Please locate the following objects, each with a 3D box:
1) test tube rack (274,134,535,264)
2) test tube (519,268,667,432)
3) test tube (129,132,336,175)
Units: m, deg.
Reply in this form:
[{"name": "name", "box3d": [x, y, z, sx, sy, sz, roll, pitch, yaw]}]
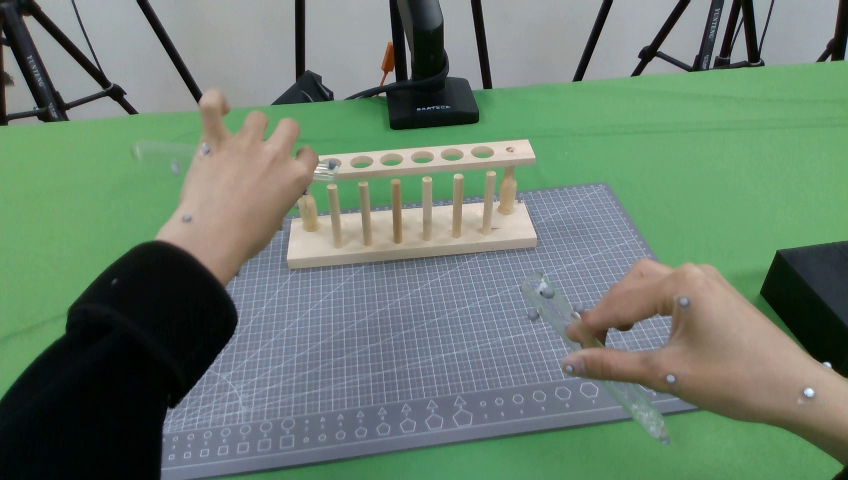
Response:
[{"name": "test tube rack", "box3d": [-0.016, -0.040, 0.587, 0.242, 0.086, 0.066, -5, 40, -3]}, {"name": "test tube", "box3d": [0.104, 0.069, 0.358, 0.017, 0.151, 0.017, -34, 26, 19]}, {"name": "test tube", "box3d": [-0.141, -0.065, 0.461, 0.151, 0.017, 0.017, 4, 36, -22]}]
